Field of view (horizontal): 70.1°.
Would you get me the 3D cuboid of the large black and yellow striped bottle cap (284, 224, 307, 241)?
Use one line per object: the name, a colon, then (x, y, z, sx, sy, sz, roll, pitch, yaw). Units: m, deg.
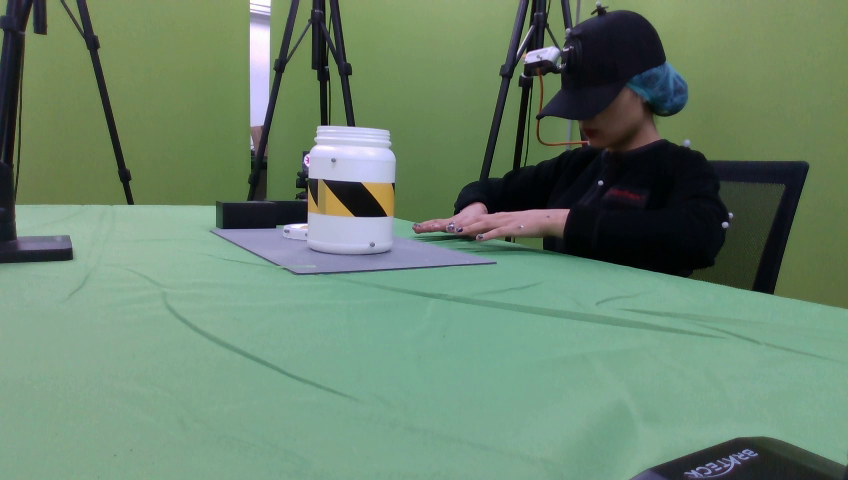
large black and yellow striped bottle cap: (-0.186, -0.014, 1.055, 0.115, 0.019, 0.115, 1, 8, 0)

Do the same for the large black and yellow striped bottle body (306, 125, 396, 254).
large black and yellow striped bottle body: (-0.109, -0.077, 0.913, 0.131, 0.184, 0.130, 3, 8, 0)
